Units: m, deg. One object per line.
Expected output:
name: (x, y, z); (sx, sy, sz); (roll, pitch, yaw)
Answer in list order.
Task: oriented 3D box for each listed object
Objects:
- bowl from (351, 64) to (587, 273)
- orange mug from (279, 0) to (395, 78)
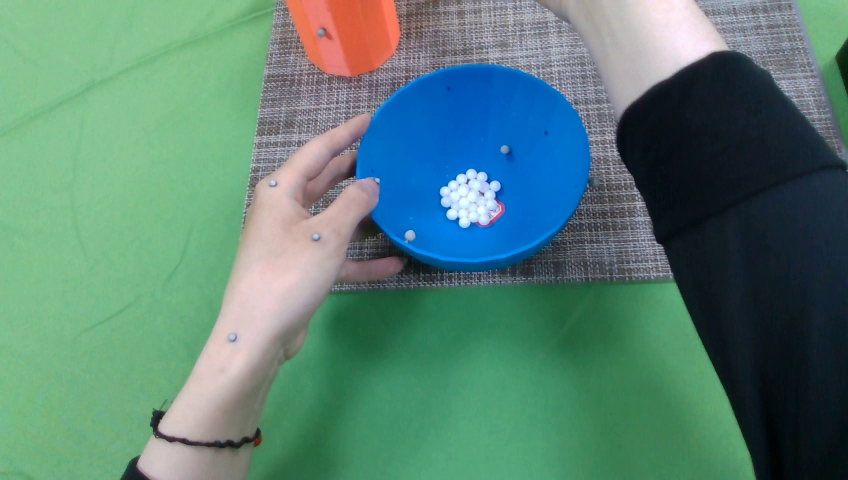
bowl: (0.031, -0.037, 0.418); (0.151, 0.077, 0.150); (-2, 64, 5)
orange mug: (-0.070, -0.215, 0.502); (0.083, 0.101, 0.125); (9, 71, 10)
